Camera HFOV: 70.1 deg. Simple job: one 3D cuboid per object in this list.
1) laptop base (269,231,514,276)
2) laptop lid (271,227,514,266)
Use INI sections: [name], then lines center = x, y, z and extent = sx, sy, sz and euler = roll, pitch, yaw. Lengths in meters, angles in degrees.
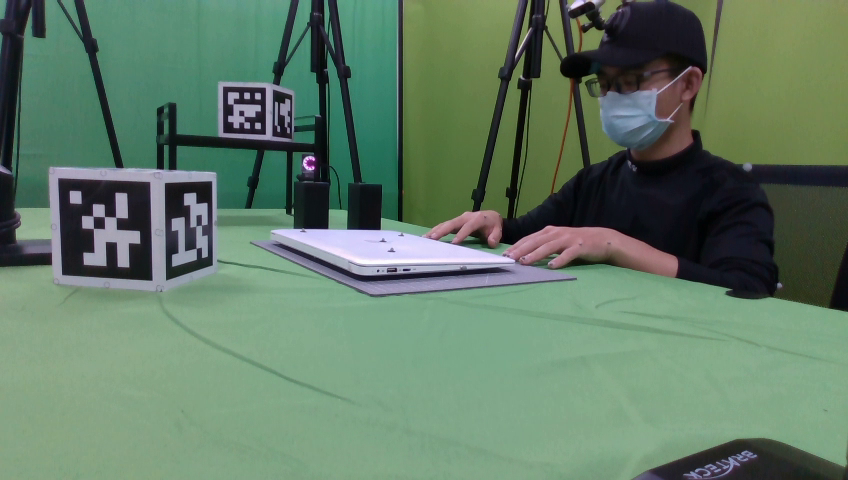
[laptop base]
center = -0.066, 0.017, 0.893
extent = 0.237, 0.023, 0.352
euler = 1, 6, -32
[laptop lid]
center = -0.063, 0.005, 0.893
extent = 0.243, 0.013, 0.355
euler = 1, 7, -30
